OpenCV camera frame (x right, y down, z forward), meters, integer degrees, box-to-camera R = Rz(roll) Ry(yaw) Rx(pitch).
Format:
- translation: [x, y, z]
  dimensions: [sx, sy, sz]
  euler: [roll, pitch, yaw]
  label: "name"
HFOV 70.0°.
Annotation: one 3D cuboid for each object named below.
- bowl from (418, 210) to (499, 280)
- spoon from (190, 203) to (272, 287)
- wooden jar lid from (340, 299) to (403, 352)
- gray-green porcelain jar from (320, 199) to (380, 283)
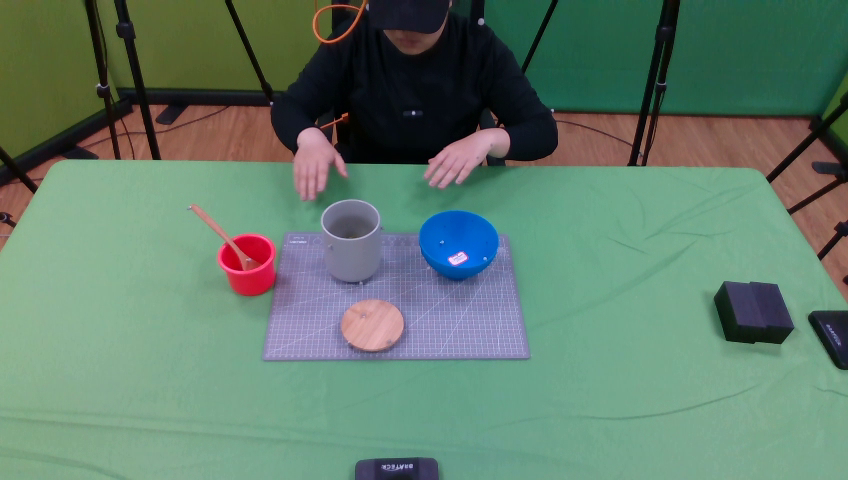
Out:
- translation: [0.062, 0.022, 1.140]
  dimensions: [0.151, 0.077, 0.150]
  euler: [2, 46, -2]
  label: "bowl"
- translation: [-0.344, 0.008, 1.080]
  dimensions: [0.194, 0.021, 0.041]
  euler: [53, 52, -16]
  label: "spoon"
- translation: [-0.090, 0.150, 1.046]
  dimensions: [0.108, 0.021, 0.107]
  euler: [3, 47, -3]
  label: "wooden jar lid"
- translation: [-0.133, 0.007, 1.106]
  dimensions: [0.106, 0.127, 0.105]
  euler: [2, 46, -2]
  label: "gray-green porcelain jar"
